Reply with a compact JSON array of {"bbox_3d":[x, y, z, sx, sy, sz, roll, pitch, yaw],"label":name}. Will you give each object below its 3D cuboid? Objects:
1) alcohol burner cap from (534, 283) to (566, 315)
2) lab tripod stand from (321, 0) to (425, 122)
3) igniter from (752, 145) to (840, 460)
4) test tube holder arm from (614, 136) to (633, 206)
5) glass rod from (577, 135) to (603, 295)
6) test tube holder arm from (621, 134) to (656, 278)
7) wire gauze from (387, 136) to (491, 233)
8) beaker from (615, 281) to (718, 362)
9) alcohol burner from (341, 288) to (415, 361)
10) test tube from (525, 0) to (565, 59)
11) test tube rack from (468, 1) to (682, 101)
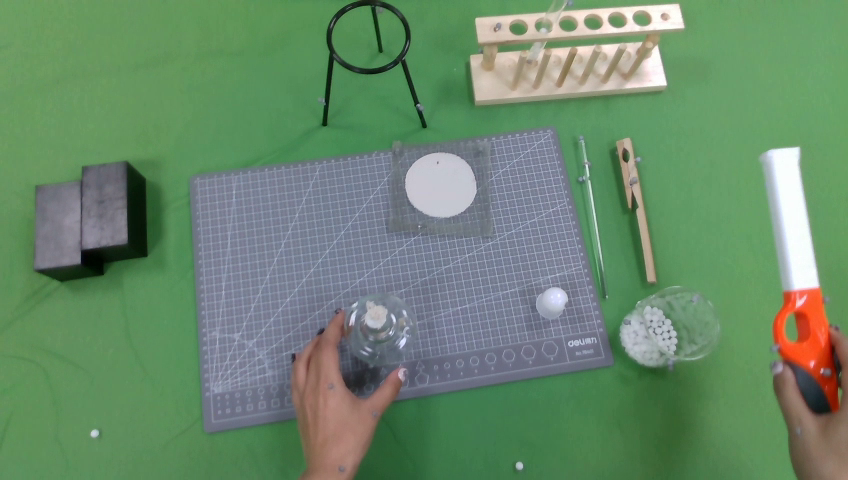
[{"bbox_3d":[0.142,0.063,0.673,0.034,0.048,0.033,0,73,-1],"label":"alcohol burner cap"},{"bbox_3d":[-0.062,-0.200,0.702,0.148,0.132,0.147,0,75,-1],"label":"lab tripod stand"},{"bbox_3d":[0.330,0.053,0.538,0.057,0.025,0.276,-6,86,-3],"label":"igniter"},{"bbox_3d":[0.244,-0.084,0.735,0.010,0.015,0.087,-15,73,29],"label":"test tube holder arm"},{"bbox_3d":[0.198,-0.032,0.723,0.008,0.008,0.198,-3,76,-2],"label":"glass rod"},{"bbox_3d":[0.254,-0.042,0.721,0.013,0.015,0.177,-15,73,29],"label":"test tube holder arm"},{"bbox_3d":[0.019,-0.069,0.728,0.125,0.011,0.121,3,75,-1],"label":"wire gauze"},{"bbox_3d":[0.248,0.089,0.642,0.084,0.101,0.073,22,74,7],"label":"beaker"},{"bbox_3d":[-0.049,0.084,0.626,0.078,0.120,0.077,0,72,1],"label":"alcohol burner"},{"bbox_3d":[0.142,-0.254,0.695,0.017,0.151,0.017,2,74,-6],"label":"test tube"},{"bbox_3d":[0.181,-0.229,0.741,0.242,0.085,0.066,-5,73,-3],"label":"test tube rack"}]
